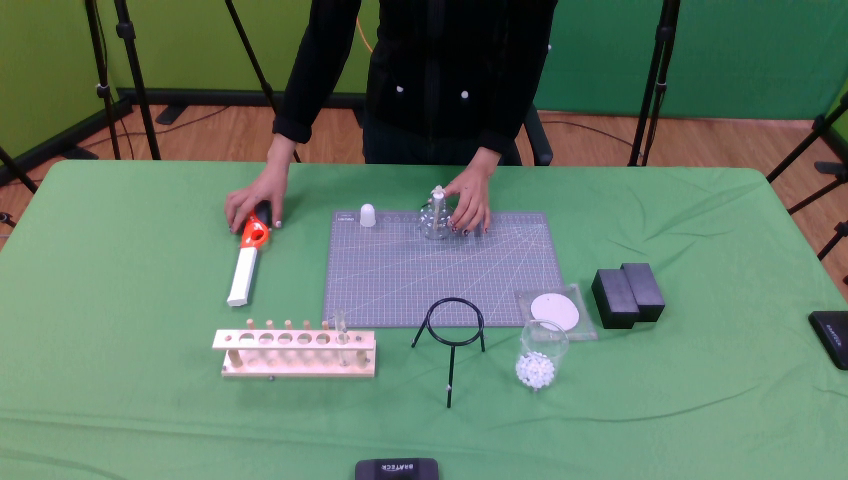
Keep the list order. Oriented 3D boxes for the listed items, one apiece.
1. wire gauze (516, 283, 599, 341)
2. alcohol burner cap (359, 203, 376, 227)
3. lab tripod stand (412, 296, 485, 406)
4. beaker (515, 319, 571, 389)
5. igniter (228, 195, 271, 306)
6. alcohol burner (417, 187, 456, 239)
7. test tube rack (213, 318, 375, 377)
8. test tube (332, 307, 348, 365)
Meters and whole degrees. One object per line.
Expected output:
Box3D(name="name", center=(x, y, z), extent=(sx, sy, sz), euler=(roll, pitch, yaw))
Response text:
Box3D(name="wire gauze", center=(0.240, 0.131, 1.094), extent=(0.125, 0.011, 0.120), euler=(-3, 47, -8))
Box3D(name="alcohol burner cap", center=(-0.115, -0.054, 1.224), extent=(0.034, 0.048, 0.033), euler=(2, 47, -2))
Box3D(name="lab tripod stand", center=(0.045, 0.168, 0.963), extent=(0.148, 0.132, 0.147), euler=(3, 47, -3))
Box3D(name="beaker", center=(0.186, 0.186, 0.980), extent=(0.074, 0.101, 0.083), euler=(-23, 51, -24))
Box3D(name="igniter", center=(-0.332, 0.011, 1.160), extent=(0.057, 0.025, 0.274), euler=(-6, 46, 5))
Box3D(name="alcohol burner", center=(0.025, -0.059, 1.189), extent=(0.078, 0.120, 0.077), euler=(1, 48, -1))
Box3D(name="test tube rack", center=(-0.202, 0.170, 0.977), extent=(0.242, 0.085, 0.066), euler=(1, 46, -3))
Box3D(name="test tube", center=(-0.128, 0.151, 0.931), extent=(0.017, 0.151, 0.017), euler=(1, 50, -2))
